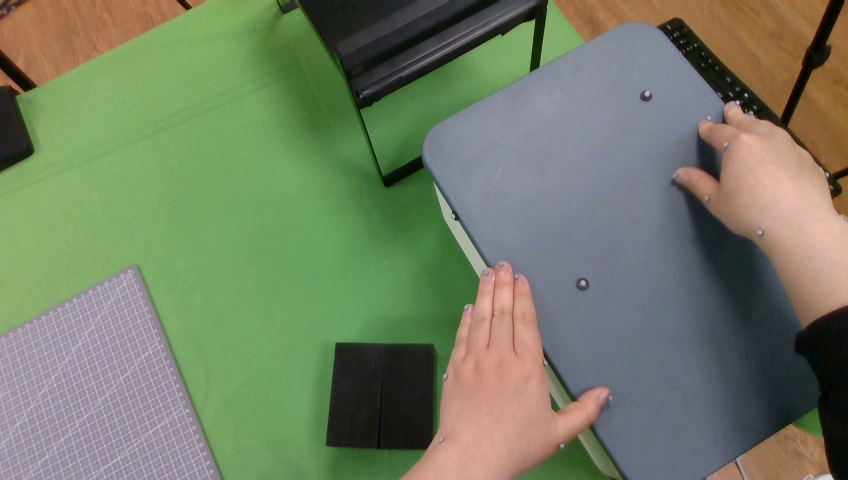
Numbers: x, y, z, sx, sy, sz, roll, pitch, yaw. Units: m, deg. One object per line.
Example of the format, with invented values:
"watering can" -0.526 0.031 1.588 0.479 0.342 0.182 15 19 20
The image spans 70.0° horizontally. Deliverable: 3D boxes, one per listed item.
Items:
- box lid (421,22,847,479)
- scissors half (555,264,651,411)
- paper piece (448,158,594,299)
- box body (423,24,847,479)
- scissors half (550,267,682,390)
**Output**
"box lid" 0.187 -0.013 0.519 0.263 0.015 0.368 -29 70 -6
"scissors half" 0.180 0.097 0.634 0.040 0.013 0.173 -22 63 -2
"paper piece" 0.112 -0.016 0.696 0.136 0.008 0.137 -17 82 -8
"box body" 0.194 0.014 0.588 0.254 0.161 0.361 -29 70 -5
"scissors half" 0.198 0.087 0.637 0.040 0.013 0.174 -40 66 -16
